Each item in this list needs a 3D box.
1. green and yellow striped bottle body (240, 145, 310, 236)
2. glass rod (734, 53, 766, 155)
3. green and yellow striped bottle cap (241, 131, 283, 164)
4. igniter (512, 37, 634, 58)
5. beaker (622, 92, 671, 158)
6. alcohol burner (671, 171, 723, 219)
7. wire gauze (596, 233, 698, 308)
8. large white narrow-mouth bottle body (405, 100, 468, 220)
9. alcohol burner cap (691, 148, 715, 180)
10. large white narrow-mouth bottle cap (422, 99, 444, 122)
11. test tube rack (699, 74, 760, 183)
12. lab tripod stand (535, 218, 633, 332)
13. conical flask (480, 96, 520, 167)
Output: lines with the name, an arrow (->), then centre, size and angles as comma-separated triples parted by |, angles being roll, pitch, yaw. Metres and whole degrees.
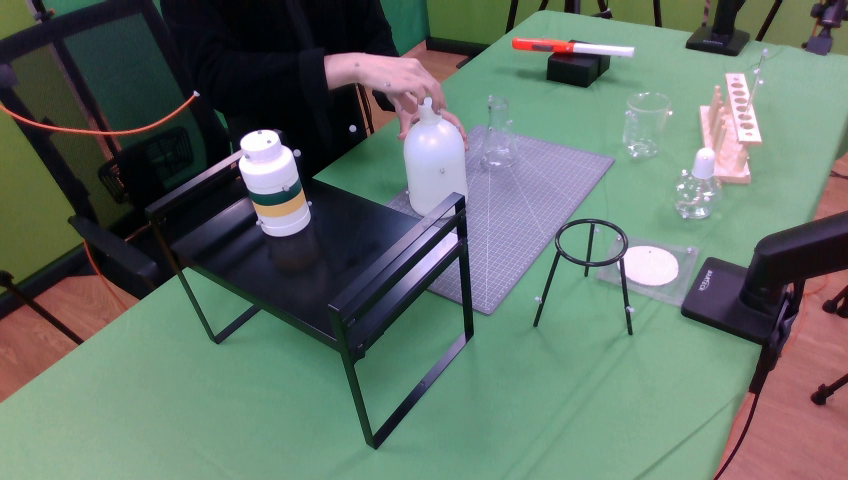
green and yellow striped bottle body -> -0.181, -0.069, 0.729 | 0.063, 0.120, 0.063 | -4, 40, 4
glass rod -> 0.540, -0.219, 1.006 | 0.008, 0.201, 0.008 | -5, 45, 6
green and yellow striped bottle cap -> -0.187, -0.107, 0.695 | 0.045, 0.020, 0.045 | -4, 39, 3
igniter -> 0.328, -0.433, 1.360 | 0.275, 0.025, 0.057 | 12, 33, 20
beaker -> 0.402, -0.210, 1.106 | 0.074, 0.101, 0.083 | -9, 40, -2
alcohol burner -> 0.434, -0.093, 0.955 | 0.078, 0.119, 0.077 | -3, 43, 4
wire gauze -> 0.331, 0.038, 0.897 | 0.124, 0.011, 0.121 | 18, 47, 26
large white narrow-mouth bottle body -> 0.019, -0.136, 0.998 | 0.102, 0.195, 0.101 | -3, 39, 3
alcohol burner cap -> 0.432, -0.120, 0.930 | 0.034, 0.048, 0.033 | -7, 48, 8
large white narrow-mouth bottle cap -> 0.014, -0.202, 0.945 | 0.038, 0.024, 0.037 | -3, 39, 3
test tube rack -> 0.547, -0.208, 1.095 | 0.066, 0.085, 0.242 | 6, 42, 16
lab tripod stand -> 0.215, 0.050, 0.803 | 0.148, 0.132, 0.147 | -4, 42, 4
conical flask -> 0.138, -0.201, 1.111 | 0.075, 0.122, 0.075 | -4, 40, 4
